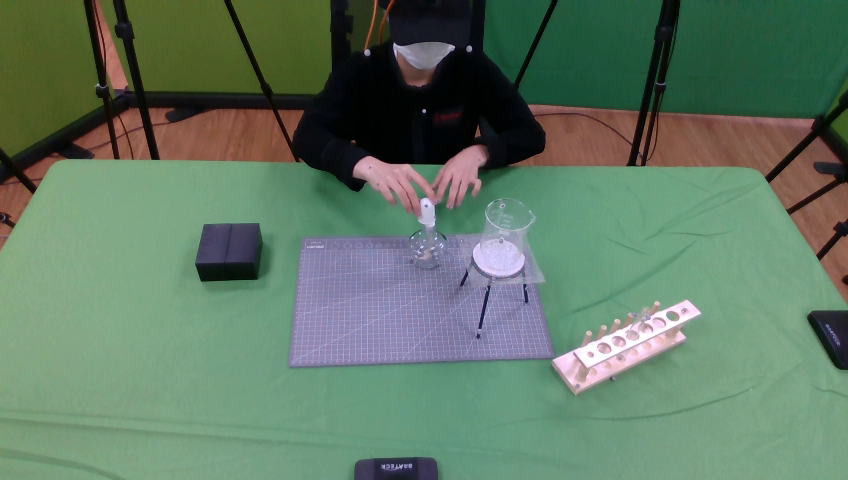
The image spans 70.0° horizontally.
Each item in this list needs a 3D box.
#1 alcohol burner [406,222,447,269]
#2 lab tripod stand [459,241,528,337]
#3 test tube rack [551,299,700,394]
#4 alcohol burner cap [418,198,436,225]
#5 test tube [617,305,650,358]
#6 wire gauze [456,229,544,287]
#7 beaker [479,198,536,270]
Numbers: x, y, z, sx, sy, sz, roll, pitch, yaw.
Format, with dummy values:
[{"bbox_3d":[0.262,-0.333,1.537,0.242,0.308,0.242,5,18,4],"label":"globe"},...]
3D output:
[{"bbox_3d":[0.006,-0.003,1.134,0.078,0.120,0.077,2,48,-2],"label":"alcohol burner"},{"bbox_3d":[0.122,0.075,1.054,0.148,0.132,0.147,3,44,-3],"label":"lab tripod stand"},{"bbox_3d":[0.339,0.166,1.021,0.242,0.085,0.066,-19,50,-21],"label":"test tube rack"},{"bbox_3d":[0.005,-0.053,1.079,0.034,0.048,0.033,0,40,0],"label":"alcohol burner cap"},{"bbox_3d":[0.333,0.149,0.967,0.017,0.151,0.017,0,52,1],"label":"test tube"},{"bbox_3d":[0.125,0.030,1.008,0.125,0.011,0.120,-2,48,-11],"label":"wire gauze"},{"bbox_3d":[0.131,-0.007,0.975,0.084,0.101,0.073,2,46,-4],"label":"beaker"}]
